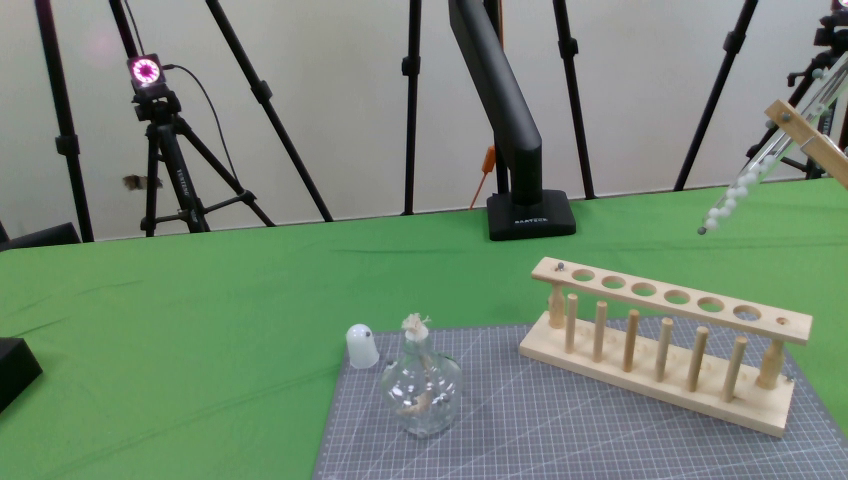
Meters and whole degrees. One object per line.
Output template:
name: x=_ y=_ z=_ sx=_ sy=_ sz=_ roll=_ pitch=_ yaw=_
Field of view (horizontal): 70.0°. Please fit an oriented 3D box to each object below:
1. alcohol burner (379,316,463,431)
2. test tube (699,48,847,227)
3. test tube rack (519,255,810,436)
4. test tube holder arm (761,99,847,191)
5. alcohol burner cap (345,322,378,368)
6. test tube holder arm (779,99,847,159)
alcohol burner: x=-0.004 y=0.115 z=0.548 sx=0.078 sy=0.120 sz=0.077 roll=-4 pitch=33 yaw=3
test tube: x=0.251 y=-0.067 z=0.435 sx=0.017 sy=0.151 sz=0.017 roll=21 pitch=33 yaw=-14
test tube rack: x=0.211 y=0.090 z=0.569 sx=0.240 sy=0.086 sz=0.066 roll=13 pitch=37 yaw=32
test tube holder arm: x=0.268 y=-0.062 z=0.414 sx=0.010 sy=0.015 sz=0.087 roll=-20 pitch=64 yaw=-42
alcohol burner cap: x=-0.068 y=0.108 z=0.645 sx=0.034 sy=0.048 sz=0.033 roll=-5 pitch=32 yaw=3
test tube holder arm: x=0.296 y=-0.029 z=0.401 sx=0.013 sy=0.015 sz=0.177 roll=-13 pitch=60 yaw=-39
